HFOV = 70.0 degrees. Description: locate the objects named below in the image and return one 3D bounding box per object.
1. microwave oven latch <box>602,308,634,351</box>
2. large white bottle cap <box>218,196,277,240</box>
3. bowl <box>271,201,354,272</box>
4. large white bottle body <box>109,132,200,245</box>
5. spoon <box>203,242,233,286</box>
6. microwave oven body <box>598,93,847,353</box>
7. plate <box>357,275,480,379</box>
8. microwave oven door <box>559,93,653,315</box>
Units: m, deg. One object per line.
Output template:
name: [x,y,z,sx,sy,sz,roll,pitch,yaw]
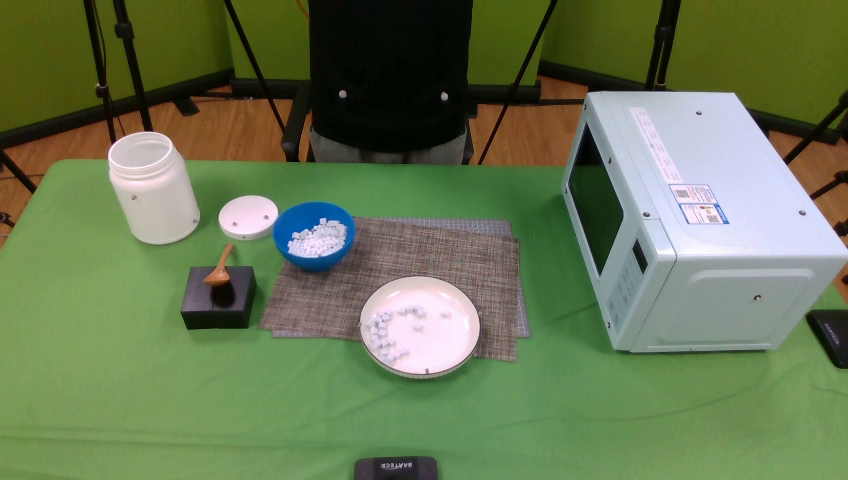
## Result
microwave oven latch: [0.332,0.153,1.044,0.030,0.029,0.078,-1,45,-4]
large white bottle cap: [-0.354,-0.045,1.220,0.115,0.018,0.114,1,45,-1]
bowl: [-0.205,0.006,1.135,0.151,0.077,0.150,3,46,-3]
large white bottle body: [-0.506,-0.097,1.141,0.131,0.185,0.130,2,46,-2]
spoon: [-0.360,0.039,1.087,0.041,0.022,0.192,-5,24,-7]
microwave oven body: [0.475,-0.041,1.110,0.326,0.261,0.438,-1,45,-4]
plate: [-0.010,0.151,1.038,0.209,0.038,0.208,2,47,-2]
microwave oven door: [0.327,-0.074,1.123,0.039,0.245,0.353,-1,46,-5]
